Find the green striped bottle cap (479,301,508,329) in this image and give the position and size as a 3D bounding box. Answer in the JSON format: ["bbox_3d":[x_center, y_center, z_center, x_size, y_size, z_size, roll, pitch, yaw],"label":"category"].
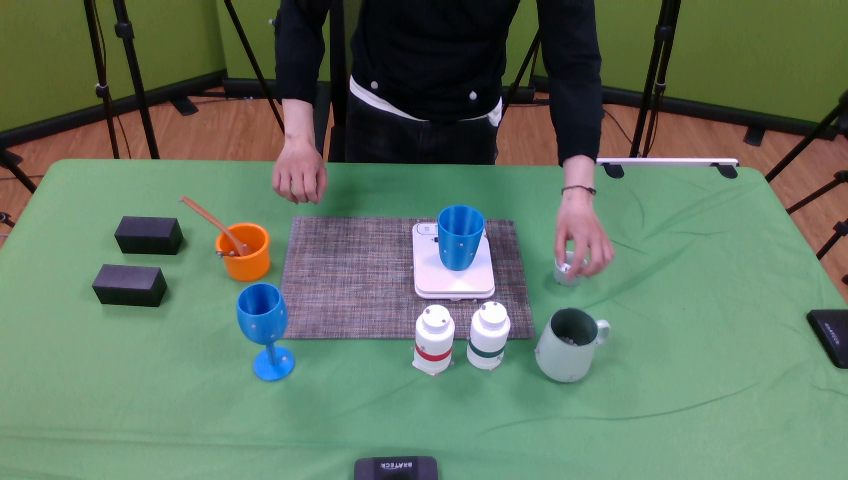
[{"bbox_3d":[0.109,0.118,0.949,0.044,0.020,0.044,2,45,-1],"label":"green striped bottle cap"}]

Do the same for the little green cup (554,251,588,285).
[{"bbox_3d":[0.277,0.055,1.151,0.061,0.039,0.061,1,46,-1],"label":"little green cup"}]

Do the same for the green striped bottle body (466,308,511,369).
[{"bbox_3d":[0.105,0.154,0.988,0.063,0.120,0.063,2,46,-2],"label":"green striped bottle body"}]

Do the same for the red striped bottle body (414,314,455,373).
[{"bbox_3d":[0.016,0.158,0.977,0.063,0.120,0.062,2,46,-2],"label":"red striped bottle body"}]

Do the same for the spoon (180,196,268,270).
[{"bbox_3d":[-0.360,-0.014,1.094,0.021,0.194,0.041,-28,26,31],"label":"spoon"}]

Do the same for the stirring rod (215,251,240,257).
[{"bbox_3d":[-0.339,0.024,1.059,0.014,0.176,0.006,16,86,-6],"label":"stirring rod"}]

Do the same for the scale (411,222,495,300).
[{"bbox_3d":[0.052,0.031,1.158,0.149,0.032,0.199,1,46,-4],"label":"scale"}]

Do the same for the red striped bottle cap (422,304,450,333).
[{"bbox_3d":[0.018,0.121,0.939,0.044,0.018,0.044,1,48,0],"label":"red striped bottle cap"}]

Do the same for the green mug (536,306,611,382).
[{"bbox_3d":[0.250,0.167,0.996,0.125,0.105,0.092,-15,48,-19],"label":"green mug"}]

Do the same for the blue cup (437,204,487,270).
[{"bbox_3d":[0.062,0.000,1.097,0.093,0.101,0.092,2,44,-2],"label":"blue cup"}]

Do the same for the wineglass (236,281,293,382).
[{"bbox_3d":[-0.243,0.143,0.934,0.074,0.173,0.073,2,46,-2],"label":"wineglass"}]
